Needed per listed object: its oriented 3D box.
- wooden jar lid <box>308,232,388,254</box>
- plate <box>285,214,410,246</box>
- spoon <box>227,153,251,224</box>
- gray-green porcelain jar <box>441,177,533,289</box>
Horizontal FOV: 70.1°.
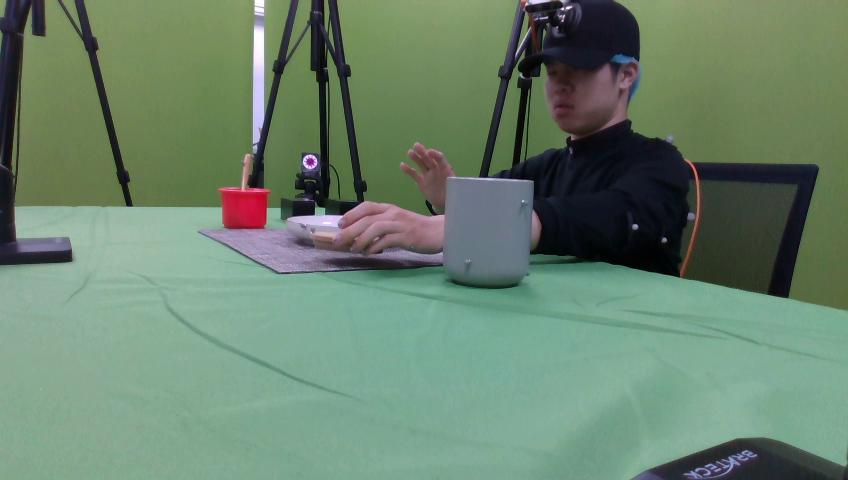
[{"bbox_3d":[-0.102,0.004,0.814,0.108,0.020,0.108,5,4,0],"label":"wooden jar lid"},{"bbox_3d":[-0.127,-0.015,1.012,0.208,0.039,0.207,3,7,0],"label":"plate"},{"bbox_3d":[-0.363,-0.107,1.211,0.042,0.021,0.193,-1,47,-7],"label":"spoon"},{"bbox_3d":[0.075,-0.010,0.727,0.106,0.126,0.106,2,7,0],"label":"gray-green porcelain jar"}]
